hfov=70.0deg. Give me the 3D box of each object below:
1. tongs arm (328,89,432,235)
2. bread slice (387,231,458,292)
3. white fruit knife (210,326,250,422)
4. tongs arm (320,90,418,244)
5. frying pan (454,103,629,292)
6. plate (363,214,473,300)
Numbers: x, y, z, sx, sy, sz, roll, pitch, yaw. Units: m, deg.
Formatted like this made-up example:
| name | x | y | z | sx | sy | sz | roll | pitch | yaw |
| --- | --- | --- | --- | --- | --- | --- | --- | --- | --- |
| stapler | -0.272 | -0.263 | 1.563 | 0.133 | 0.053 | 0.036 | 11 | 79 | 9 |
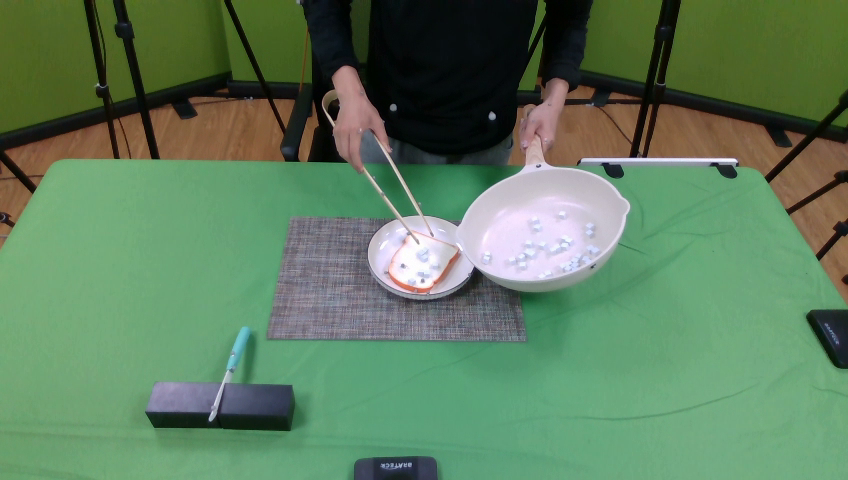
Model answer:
| name | x | y | z | sx | sy | sz | roll | pitch | yaw |
| --- | --- | --- | --- | --- | --- | --- | --- | --- | --- |
| tongs arm | -0.086 | -0.160 | 1.166 | 0.028 | 0.028 | 0.385 | -34 | 67 | 3 |
| bread slice | -0.007 | 0.043 | 1.142 | 0.107 | 0.018 | 0.134 | 18 | 46 | 14 |
| white fruit knife | -0.301 | 0.201 | 0.942 | 0.016 | 0.027 | 0.206 | 1 | 32 | -1 |
| tongs arm | -0.104 | -0.148 | 1.166 | 0.051 | 0.026 | 0.383 | -37 | 67 | -2 |
| frying pan | 0.215 | -0.100 | 1.150 | 0.306 | 0.103 | 0.485 | -8 | 51 | 15 |
| plate | -0.010 | 0.036 | 1.146 | 0.208 | 0.039 | 0.206 | 3 | 46 | -2 |
